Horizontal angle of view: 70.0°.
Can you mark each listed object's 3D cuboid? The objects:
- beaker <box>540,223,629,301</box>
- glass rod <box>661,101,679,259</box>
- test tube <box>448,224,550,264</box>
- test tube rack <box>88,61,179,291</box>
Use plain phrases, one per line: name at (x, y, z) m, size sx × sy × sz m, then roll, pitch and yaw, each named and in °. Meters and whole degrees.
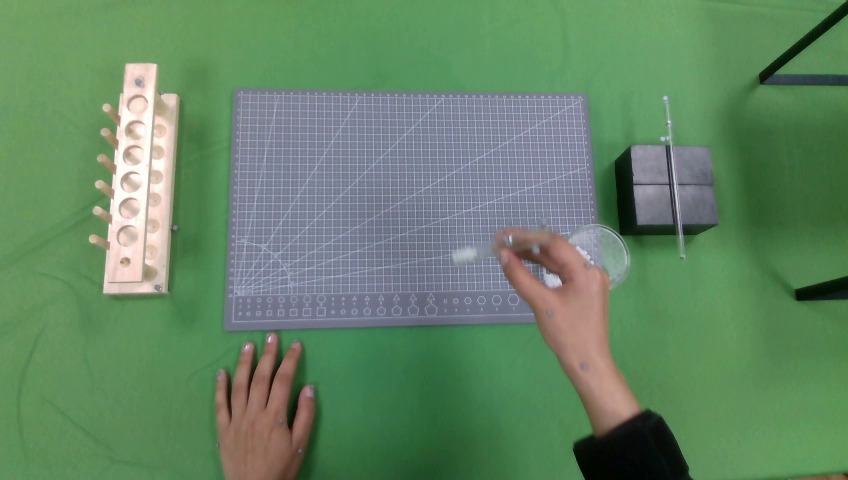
beaker at (0.175, 0.029, 0.691) m, size 0.084 × 0.100 × 0.073 m, roll 1°, pitch 76°, yaw -4°
glass rod at (0.295, -0.075, 0.727) m, size 0.008 × 0.008 × 0.198 m, roll 1°, pitch 77°, yaw -5°
test tube at (0.062, 0.006, 0.547) m, size 0.017 × 0.150 × 0.017 m, roll 5°, pitch 79°, yaw -26°
test tube rack at (-0.325, -0.069, 0.673) m, size 0.067 × 0.085 × 0.241 m, roll -1°, pitch 77°, yaw -5°
